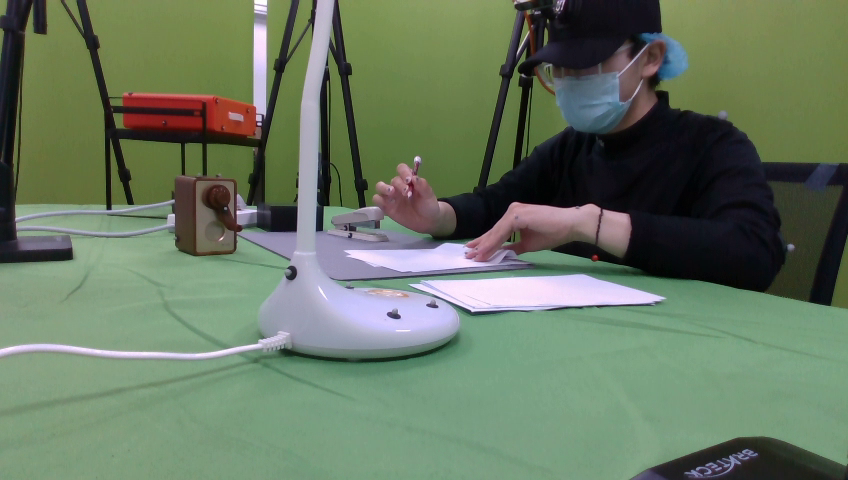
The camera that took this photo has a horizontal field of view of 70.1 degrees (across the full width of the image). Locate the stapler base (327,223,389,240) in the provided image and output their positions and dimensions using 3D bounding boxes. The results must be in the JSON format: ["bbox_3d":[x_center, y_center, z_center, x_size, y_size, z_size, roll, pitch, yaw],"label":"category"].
[{"bbox_3d":[-0.117,-0.019,1.073,0.130,0.024,0.041,7,8,41],"label":"stapler base"}]

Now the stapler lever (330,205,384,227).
[{"bbox_3d":[-0.119,-0.044,1.070,0.117,0.040,0.027,6,8,41],"label":"stapler lever"}]

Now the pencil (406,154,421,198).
[{"bbox_3d":[-0.017,-0.105,0.971,0.012,0.012,0.194,3,26,3],"label":"pencil"}]

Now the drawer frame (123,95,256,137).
[{"bbox_3d":[-0.524,-0.280,1.376,0.213,0.082,0.202,3,8,8],"label":"drawer frame"}]

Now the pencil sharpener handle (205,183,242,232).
[{"bbox_3d":[-0.265,-0.043,0.813,0.036,0.068,0.030,-32,28,-35],"label":"pencil sharpener handle"}]

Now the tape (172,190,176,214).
[{"bbox_3d":[-0.515,-0.087,1.388,0.117,0.052,0.117,3,7,0],"label":"tape"}]

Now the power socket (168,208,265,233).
[{"bbox_3d":[-0.381,-0.038,1.129,0.072,0.032,0.227,4,8,17],"label":"power socket"}]

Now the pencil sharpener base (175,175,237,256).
[{"bbox_3d":[-0.304,-0.035,0.847,0.062,0.107,0.076,-4,10,-42],"label":"pencil sharpener base"}]

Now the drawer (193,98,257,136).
[{"bbox_3d":[-0.518,-0.279,1.376,0.211,0.073,0.195,3,8,9],"label":"drawer"}]

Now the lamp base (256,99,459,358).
[{"bbox_3d":[-0.055,-0.013,0.463,0.160,0.180,0.180,6,11,27],"label":"lamp base"}]

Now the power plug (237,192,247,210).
[{"bbox_3d":[-0.386,-0.071,1.204,0.072,0.052,0.035,7,9,26],"label":"power plug"}]
